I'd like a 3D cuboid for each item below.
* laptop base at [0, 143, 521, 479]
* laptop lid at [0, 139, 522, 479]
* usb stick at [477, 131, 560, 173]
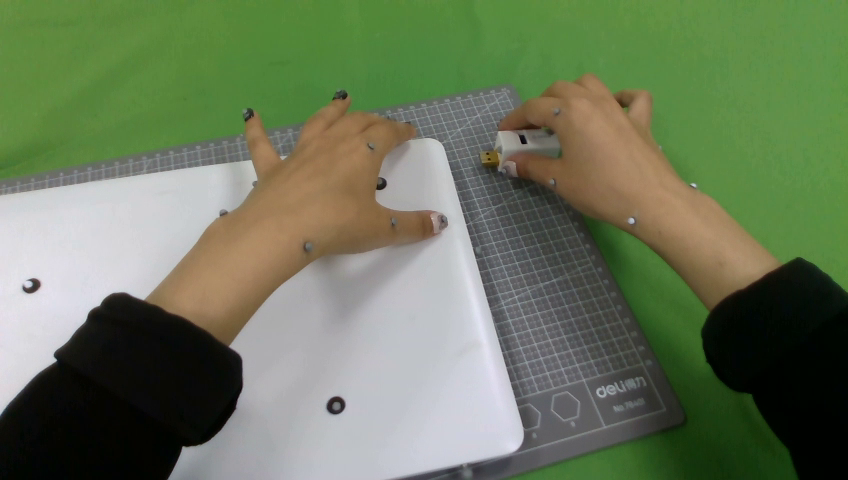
[{"bbox_3d":[-0.137,0.053,0.383,0.355,0.023,0.233,-9,61,-7],"label":"laptop base"},{"bbox_3d":[-0.137,0.048,0.372,0.357,0.013,0.239,-8,60,-6],"label":"laptop lid"},{"bbox_3d":[0.070,-0.066,0.456,0.059,0.027,0.021,-5,55,-4],"label":"usb stick"}]
